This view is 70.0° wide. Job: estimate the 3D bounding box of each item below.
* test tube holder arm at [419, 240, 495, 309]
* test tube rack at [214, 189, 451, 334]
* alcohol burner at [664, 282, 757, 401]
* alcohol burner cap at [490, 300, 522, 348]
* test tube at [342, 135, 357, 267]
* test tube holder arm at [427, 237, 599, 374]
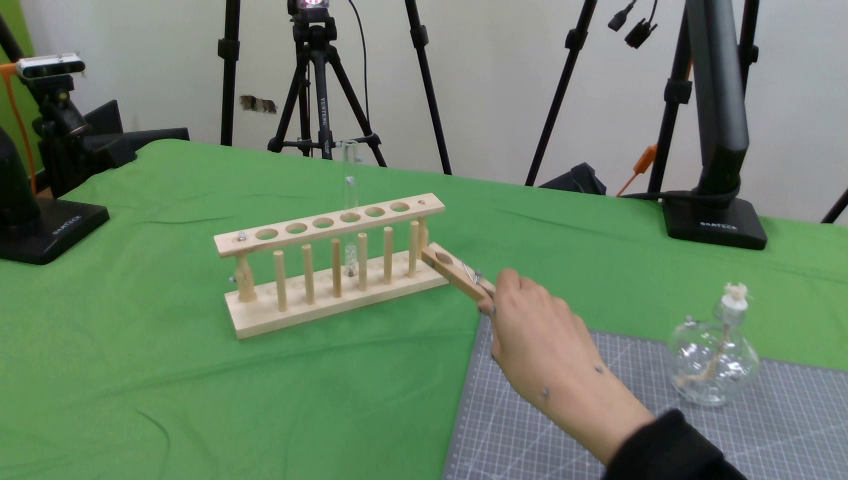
[{"bbox_3d":[0.028,0.028,0.503,0.010,0.015,0.087,-36,54,-28],"label":"test tube holder arm"},{"bbox_3d":[-0.088,0.017,0.647,0.243,0.086,0.066,-13,36,-22],"label":"test tube rack"},{"bbox_3d":[0.257,0.084,0.534,0.078,0.120,0.077,2,35,-1],"label":"alcohol burner"},{"bbox_3d":[0.083,0.079,0.598,0.034,0.048,0.033,2,34,-1],"label":"alcohol burner cap"},{"bbox_3d":[-0.079,-0.037,0.642,0.017,0.151,0.017,3,28,-1],"label":"test tube"},{"bbox_3d":[0.064,0.047,0.482,0.013,0.015,0.176,-36,54,-28],"label":"test tube holder arm"}]
